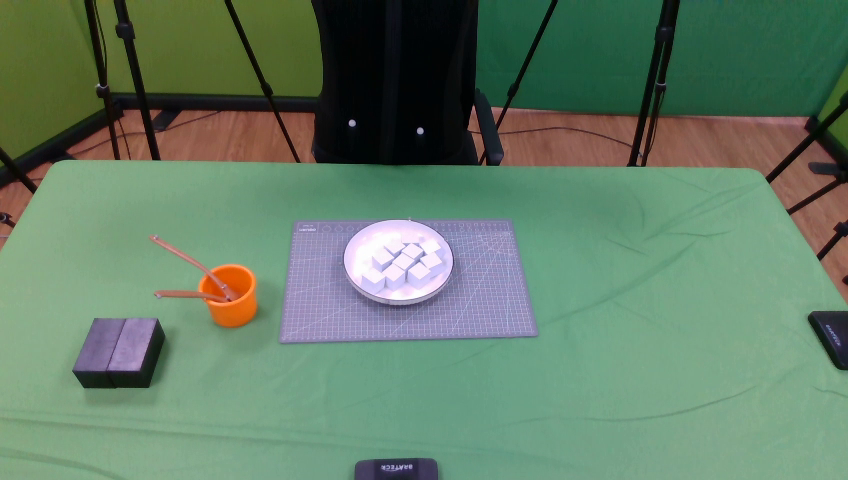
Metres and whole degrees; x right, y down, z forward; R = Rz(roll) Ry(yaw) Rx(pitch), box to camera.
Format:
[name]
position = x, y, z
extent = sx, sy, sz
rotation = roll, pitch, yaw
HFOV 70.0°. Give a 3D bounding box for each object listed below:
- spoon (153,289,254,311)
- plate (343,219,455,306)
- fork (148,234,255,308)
[spoon]
position = -0.355, 0.094, 0.990
extent = 0.021, 0.195, 0.041
rotation = -49, 59, 11
[plate]
position = -0.047, 0.045, 1.136
extent = 0.208, 0.039, 0.206
rotation = 2, 46, -2
[fork]
position = -0.372, 0.054, 1.020
extent = 0.208, 0.018, 0.028
rotation = 43, 22, -22
